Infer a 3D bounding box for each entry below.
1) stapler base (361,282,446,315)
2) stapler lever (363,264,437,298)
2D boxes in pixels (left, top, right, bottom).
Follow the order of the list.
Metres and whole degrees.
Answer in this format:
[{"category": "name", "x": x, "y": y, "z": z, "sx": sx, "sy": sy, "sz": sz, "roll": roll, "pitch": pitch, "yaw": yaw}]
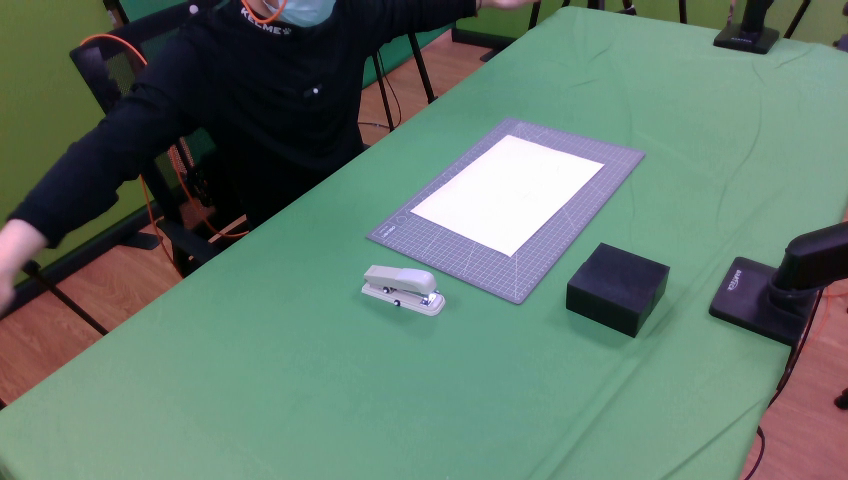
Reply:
[{"category": "stapler base", "x": -0.031, "y": 0.073, "z": 0.889, "sx": 0.130, "sy": 0.024, "sz": 0.041, "roll": 14, "pitch": 42, "yaw": 26}, {"category": "stapler lever", "x": -0.036, "y": 0.054, "z": 0.873, "sx": 0.117, "sy": 0.040, "sz": 0.027, "roll": 14, "pitch": 42, "yaw": 26}]
